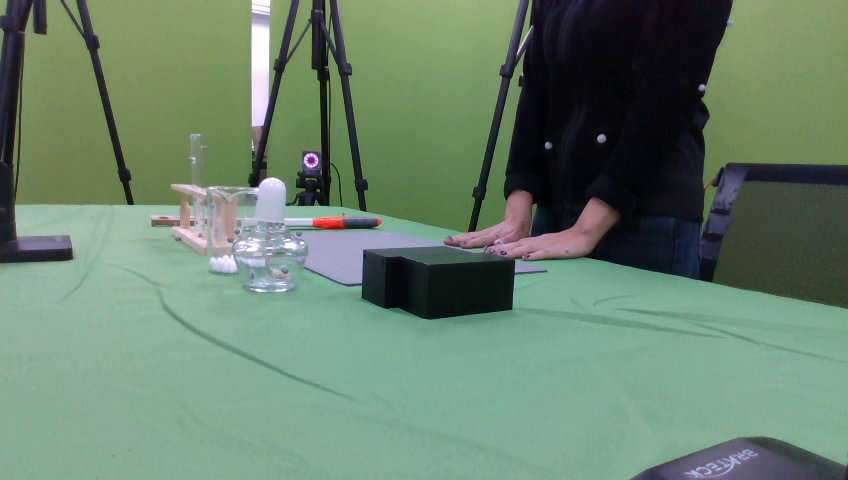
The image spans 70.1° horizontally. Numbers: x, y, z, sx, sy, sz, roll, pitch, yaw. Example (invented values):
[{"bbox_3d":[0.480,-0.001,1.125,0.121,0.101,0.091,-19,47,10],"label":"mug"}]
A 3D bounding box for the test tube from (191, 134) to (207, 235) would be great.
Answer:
[{"bbox_3d":[-0.336,-0.083,0.903,0.017,0.150,0.017,-1,5,0],"label":"test tube"}]

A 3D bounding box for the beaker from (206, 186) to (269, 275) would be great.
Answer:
[{"bbox_3d":[-0.220,-0.012,0.717,0.074,0.100,0.084,2,8,-3],"label":"beaker"}]

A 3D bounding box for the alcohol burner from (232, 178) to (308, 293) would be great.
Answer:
[{"bbox_3d":[-0.161,-0.006,0.632,0.078,0.119,0.078,1,9,0],"label":"alcohol burner"}]

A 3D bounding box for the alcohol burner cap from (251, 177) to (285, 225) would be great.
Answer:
[{"bbox_3d":[-0.160,-0.041,0.628,0.034,0.048,0.034,9,6,-1],"label":"alcohol burner cap"}]

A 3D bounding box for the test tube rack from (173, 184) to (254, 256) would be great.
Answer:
[{"bbox_3d":[-0.328,-0.036,0.927,0.067,0.085,0.241,-2,9,-32],"label":"test tube rack"}]

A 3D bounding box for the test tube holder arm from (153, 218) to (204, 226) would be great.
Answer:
[{"bbox_3d":[-0.459,-0.034,1.132,0.088,0.015,0.010,-1,43,-30],"label":"test tube holder arm"}]

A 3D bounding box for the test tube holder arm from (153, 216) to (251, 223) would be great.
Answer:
[{"bbox_3d":[-0.422,-0.039,1.159,0.179,0.015,0.013,-2,43,-31],"label":"test tube holder arm"}]

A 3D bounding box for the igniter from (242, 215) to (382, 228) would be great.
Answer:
[{"bbox_3d":[-0.212,-0.036,1.186,0.278,0.025,0.057,-2,-1,-31],"label":"igniter"}]
